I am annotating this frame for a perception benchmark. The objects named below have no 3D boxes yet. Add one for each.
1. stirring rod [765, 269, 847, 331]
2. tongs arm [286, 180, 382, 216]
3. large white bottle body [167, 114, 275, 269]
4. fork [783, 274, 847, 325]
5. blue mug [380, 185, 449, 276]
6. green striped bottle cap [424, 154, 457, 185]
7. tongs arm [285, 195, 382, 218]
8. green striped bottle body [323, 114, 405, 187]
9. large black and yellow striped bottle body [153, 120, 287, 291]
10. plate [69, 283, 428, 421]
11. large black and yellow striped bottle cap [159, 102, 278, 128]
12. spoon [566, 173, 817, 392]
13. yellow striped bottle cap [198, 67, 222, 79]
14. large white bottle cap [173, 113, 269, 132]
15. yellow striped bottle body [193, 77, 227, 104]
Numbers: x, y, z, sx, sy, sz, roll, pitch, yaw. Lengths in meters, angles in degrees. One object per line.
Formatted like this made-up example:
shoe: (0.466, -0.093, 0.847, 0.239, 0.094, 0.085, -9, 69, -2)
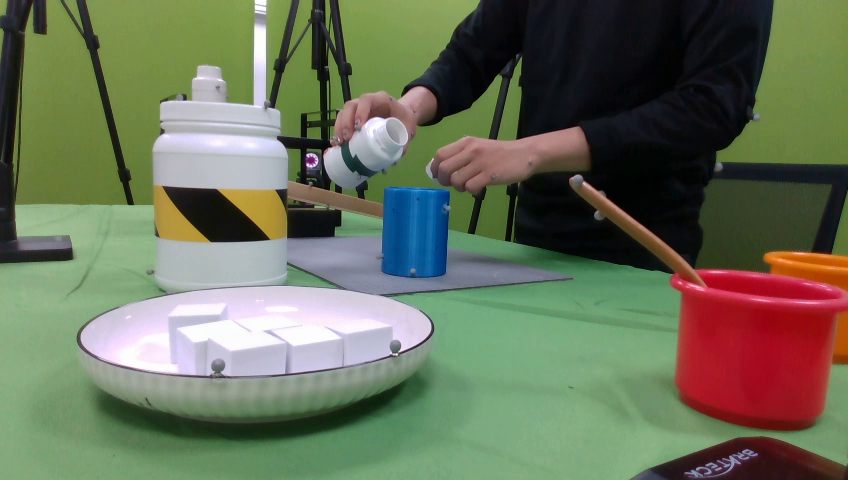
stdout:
stirring rod: (0.352, 0.020, 0.484, 0.176, 0.006, 0.014, -40, -7, 13)
tongs arm: (-0.122, -0.066, 1.147, 0.387, 0.026, 0.050, 11, -2, -37)
large white bottle body: (-0.257, -0.063, 0.771, 0.131, 0.184, 0.130, 2, 7, 0)
fork: (0.332, 0.018, 0.443, 0.028, 0.018, 0.207, -2, -36, -15)
blue mug: (-0.018, -0.016, 0.764, 0.083, 0.106, 0.116, -2, 8, -25)
green striped bottle cap: (0.023, -0.098, 0.836, 0.044, 0.020, 0.044, 23, 36, -17)
tongs arm: (-0.165, -0.074, 1.216, 0.389, 0.027, 0.028, 11, -6, -24)
green striped bottle body: (-0.077, -0.121, 0.797, 0.063, 0.063, 0.119, -6, -16, -46)
large black and yellow striped bottle body: (-0.208, -0.043, 0.626, 0.131, 0.184, 0.130, 2, 7, 0)
plate: (-0.102, 0.066, 0.381, 0.208, 0.039, 0.207, 2, 7, 0)
large black and yellow striped bottle cap: (-0.207, -0.125, 0.615, 0.115, 0.019, 0.115, 2, 6, 0)
spoon: (0.161, 0.024, 0.370, 0.193, 0.021, 0.042, 47, 18, 3)
yellow striped bottle cap: (-0.411, -0.320, 1.163, 0.044, 0.018, 0.044, 0, 6, 0)
large white bottle cap: (-0.254, -0.146, 0.760, 0.115, 0.018, 0.115, 1, 7, 0)
yellow striped bottle body: (-0.414, -0.268, 1.169, 0.063, 0.120, 0.063, 2, 7, 0)
